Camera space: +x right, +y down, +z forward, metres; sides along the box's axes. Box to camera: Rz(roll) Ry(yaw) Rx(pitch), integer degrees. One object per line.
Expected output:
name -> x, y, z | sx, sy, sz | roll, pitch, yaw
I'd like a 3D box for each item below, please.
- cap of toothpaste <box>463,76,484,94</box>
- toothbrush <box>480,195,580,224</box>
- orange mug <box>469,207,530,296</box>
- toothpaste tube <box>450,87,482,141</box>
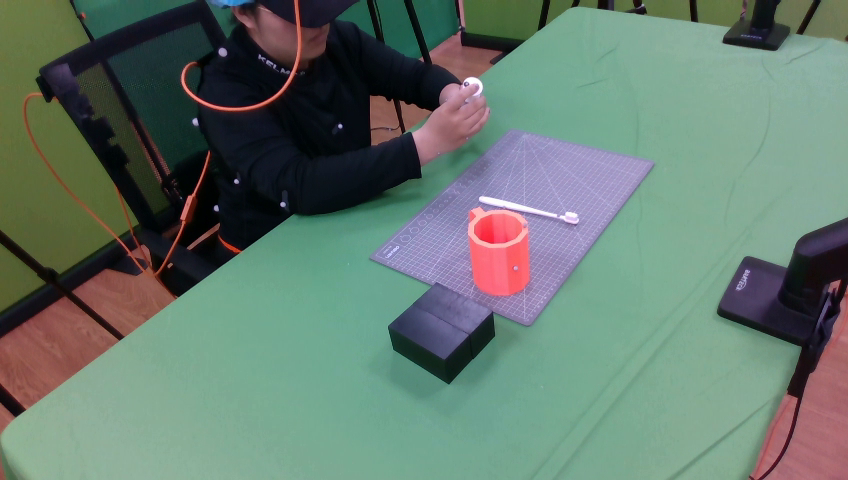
cap of toothpaste -> 0.084, -0.263, 1.032 | 0.037, 0.011, 0.037 | 3, 71, -8
toothbrush -> 0.175, -0.054, 1.016 | 0.180, 0.017, 0.014 | 15, 58, 29
orange mug -> 0.104, 0.008, 0.894 | 0.084, 0.101, 0.125 | -22, 46, -14
toothpaste tube -> 0.076, -0.239, 1.107 | 0.034, 0.165, 0.055 | 41, 70, 7
